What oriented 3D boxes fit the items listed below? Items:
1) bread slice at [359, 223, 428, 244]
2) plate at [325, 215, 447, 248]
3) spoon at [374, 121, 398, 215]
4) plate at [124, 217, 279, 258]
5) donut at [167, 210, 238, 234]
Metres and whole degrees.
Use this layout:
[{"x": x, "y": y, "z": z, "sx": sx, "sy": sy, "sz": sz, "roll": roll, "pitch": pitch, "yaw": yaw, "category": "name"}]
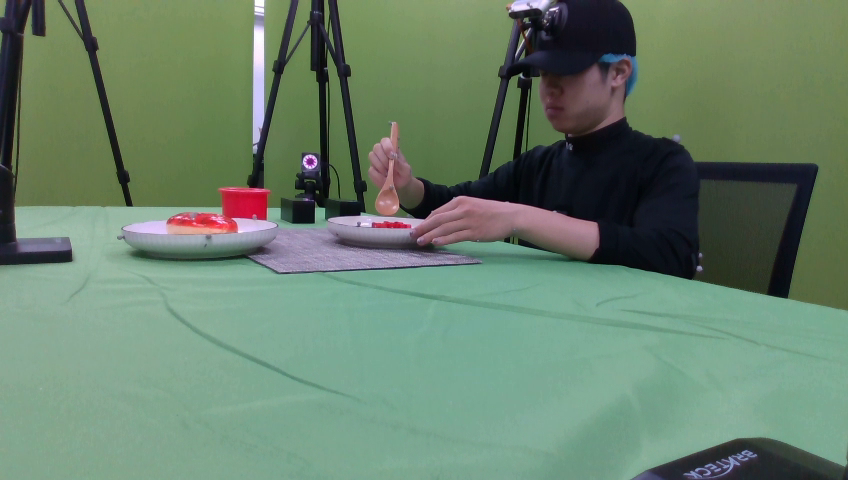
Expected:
[{"x": -0.062, "y": -0.011, "z": 1.035, "sx": 0.105, "sy": 0.019, "sz": 0.131, "roll": 0, "pitch": 10, "yaw": -19, "category": "bread slice"}, {"x": -0.065, "y": -0.015, "z": 1.035, "sx": 0.209, "sy": 0.038, "sz": 0.209, "roll": 3, "pitch": 8, "yaw": 0, "category": "plate"}, {"x": -0.058, "y": -0.128, "z": 1.056, "sx": 0.041, "sy": 0.193, "sz": 0.021, "roll": 5, "pitch": -22, "yaw": -1, "category": "spoon"}, {"x": -0.315, "y": -0.004, "z": 0.871, "sx": 0.208, "sy": 0.039, "sz": 0.207, "roll": 1, "pitch": 8, "yaw": 0, "category": "plate"}, {"x": -0.321, "y": -0.017, "z": 0.882, "sx": 0.099, "sy": 0.048, "sz": 0.099, "roll": 3, "pitch": 6, "yaw": 0, "category": "donut"}]
